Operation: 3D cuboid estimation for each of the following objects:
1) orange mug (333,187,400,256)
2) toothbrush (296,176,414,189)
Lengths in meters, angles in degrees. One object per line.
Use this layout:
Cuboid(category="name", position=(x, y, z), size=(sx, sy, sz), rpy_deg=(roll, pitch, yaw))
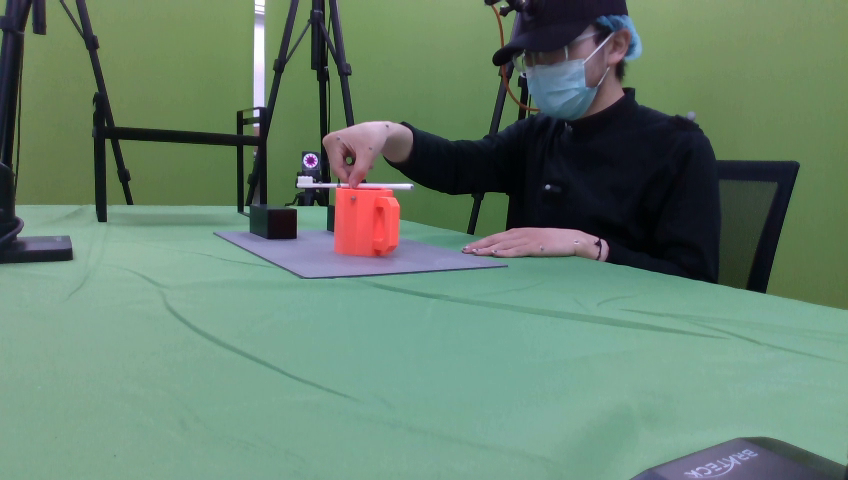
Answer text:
Cuboid(category="orange mug", position=(-0.080, -0.029, 0.888), size=(0.084, 0.100, 0.125), rpy_deg=(-3, 5, -40))
Cuboid(category="toothbrush", position=(-0.101, -0.085, 0.910), size=(0.183, 0.016, 0.014), rpy_deg=(0, 7, -22))
